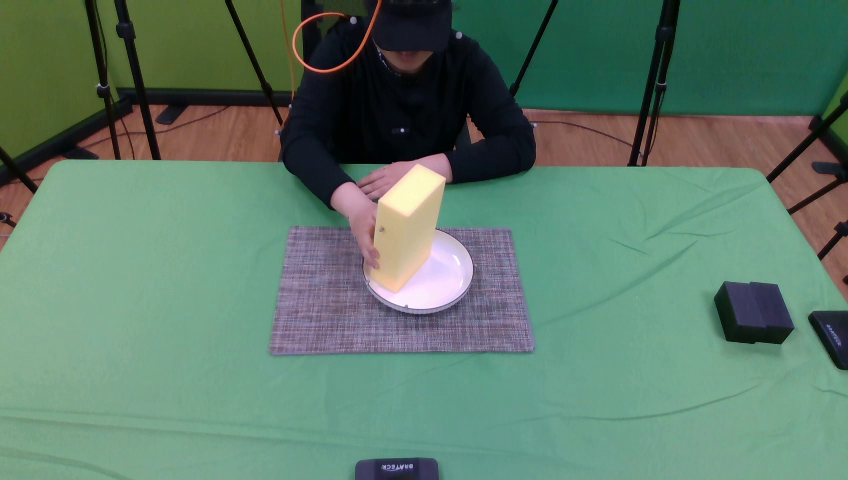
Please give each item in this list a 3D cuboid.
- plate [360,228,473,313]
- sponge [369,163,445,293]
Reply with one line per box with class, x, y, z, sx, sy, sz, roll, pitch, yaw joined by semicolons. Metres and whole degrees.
plate;-0.014;0.057;1.126;0.208;0.039;0.206;2;46;-2
sponge;-0.032;-0.017;1.065;0.061;0.208;0.118;30;50;15
